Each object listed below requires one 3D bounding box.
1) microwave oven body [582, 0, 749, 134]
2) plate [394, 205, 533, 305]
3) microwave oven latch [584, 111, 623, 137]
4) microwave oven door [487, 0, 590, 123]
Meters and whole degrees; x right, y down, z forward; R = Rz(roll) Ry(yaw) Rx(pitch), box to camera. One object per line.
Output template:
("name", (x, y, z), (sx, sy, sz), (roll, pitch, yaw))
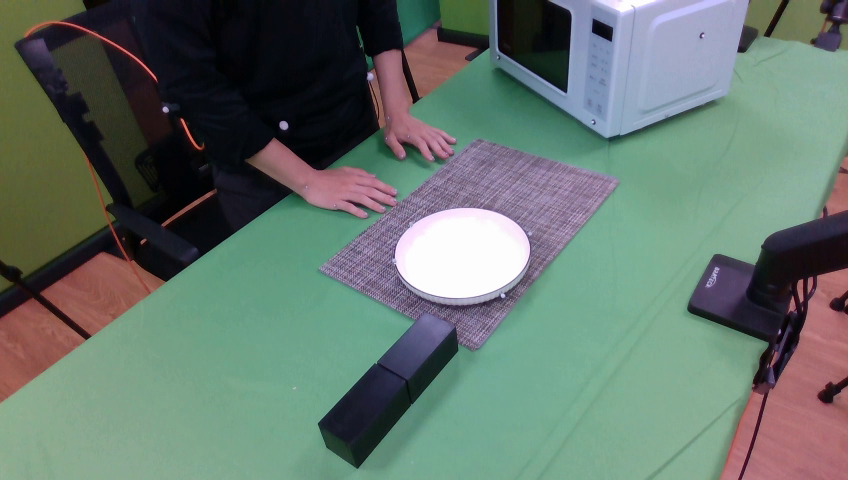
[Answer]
("microwave oven body", (0.382, -0.444, 1.246), (0.327, 0.261, 0.437), (-22, 42, -16))
("plate", (0.059, 0.025, 0.915), (0.207, 0.039, 0.206), (-4, 41, 4))
("microwave oven latch", (0.337, -0.222, 1.142), (0.030, 0.029, 0.078), (-21, 42, -14))
("microwave oven door", (0.232, -0.420, 1.231), (0.039, 0.245, 0.352), (-22, 43, -16))
